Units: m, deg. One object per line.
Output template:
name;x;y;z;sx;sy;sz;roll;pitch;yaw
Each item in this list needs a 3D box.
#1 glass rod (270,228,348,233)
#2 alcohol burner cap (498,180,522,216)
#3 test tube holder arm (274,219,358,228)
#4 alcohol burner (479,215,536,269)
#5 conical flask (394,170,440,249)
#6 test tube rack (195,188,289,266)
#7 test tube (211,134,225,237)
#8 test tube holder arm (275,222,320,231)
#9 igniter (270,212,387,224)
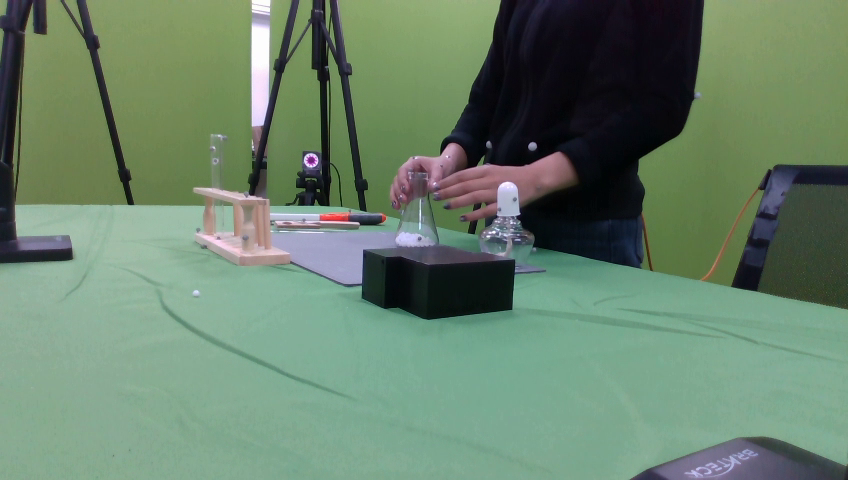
glass rod;-0.234;-0.017;1.105;0.201;0.008;0.008;1;7;-26
alcohol burner cap;0.114;-0.056;0.809;0.034;0.048;0.034;-5;12;1
test tube holder arm;-0.206;-0.032;1.177;0.179;0.015;0.013;-4;46;-40
alcohol burner;0.114;-0.021;0.816;0.078;0.119;0.078;2;9;0
conical flask;-0.009;-0.050;0.969;0.075;0.122;0.075;3;7;0
test tube rack;-0.266;-0.025;0.864;0.067;0.085;0.241;-2;8;-33
test tube;-0.300;-0.078;0.881;0.017;0.150;0.017;3;12;0
test tube holder arm;-0.238;-0.026;1.145;0.088;0.015;0.010;-3;45;-39
igniter;-0.213;-0.048;1.278;0.278;0.025;0.057;-1;-2;-25
